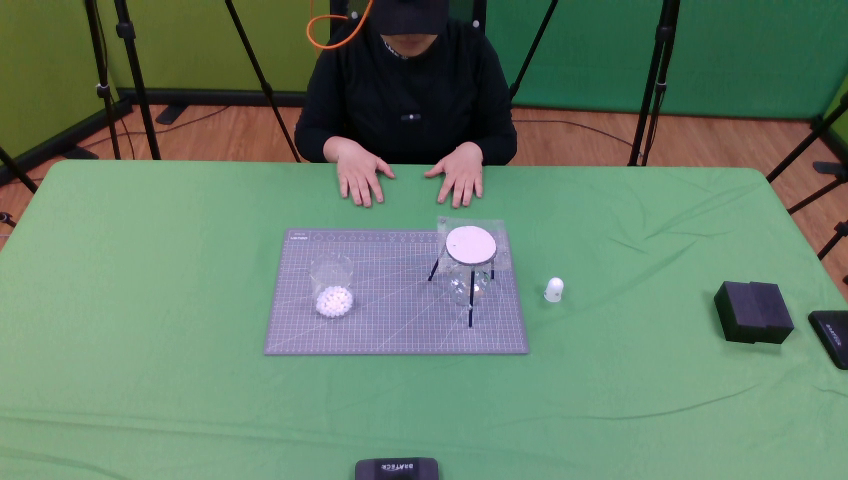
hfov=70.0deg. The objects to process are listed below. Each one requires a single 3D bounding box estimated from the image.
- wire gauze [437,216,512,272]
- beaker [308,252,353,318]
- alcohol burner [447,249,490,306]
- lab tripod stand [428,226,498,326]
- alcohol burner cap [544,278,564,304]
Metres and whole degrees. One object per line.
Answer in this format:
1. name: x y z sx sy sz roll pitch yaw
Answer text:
1. wire gauze: 0.083 0.006 1.025 0.121 0.011 0.124 2 47 -4
2. beaker: -0.159 0.080 1.052 0.074 0.101 0.083 11 46 6
3. alcohol burner: 0.079 0.062 1.078 0.078 0.120 0.077 1 45 -1
4. lab tripod stand: 0.079 0.056 1.070 0.148 0.132 0.147 3 47 -3
5. alcohol burner cap: 0.241 0.090 1.118 0.034 0.048 0.033 1 45 -1
